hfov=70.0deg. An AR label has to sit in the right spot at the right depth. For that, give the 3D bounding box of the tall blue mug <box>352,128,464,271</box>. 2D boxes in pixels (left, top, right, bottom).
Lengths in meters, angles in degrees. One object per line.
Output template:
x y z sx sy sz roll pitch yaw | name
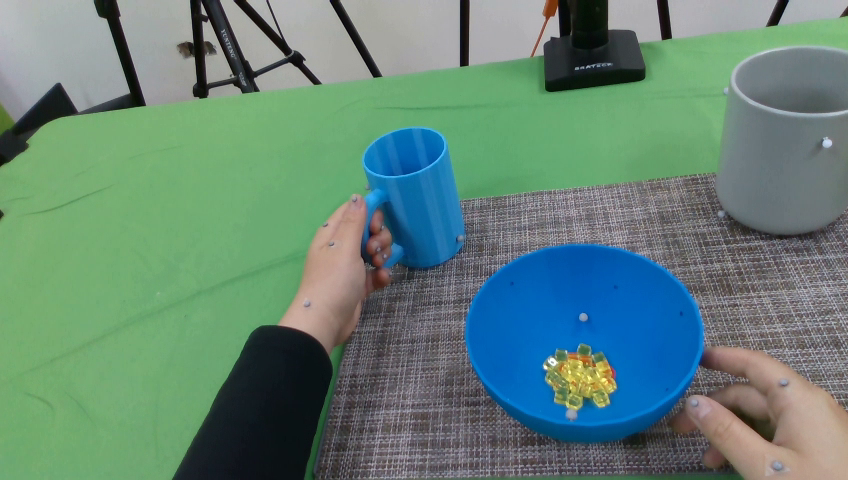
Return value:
-0.012 -0.026 0.548 0.077 0.109 0.106 1 44 16 | tall blue mug

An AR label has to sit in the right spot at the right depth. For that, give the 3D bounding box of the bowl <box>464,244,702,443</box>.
0.107 0.082 0.418 0.151 0.077 0.150 -8 42 8 | bowl

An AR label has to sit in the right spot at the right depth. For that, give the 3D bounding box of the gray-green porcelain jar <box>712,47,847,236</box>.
0.298 -0.075 0.496 0.106 0.128 0.105 -8 42 8 | gray-green porcelain jar
